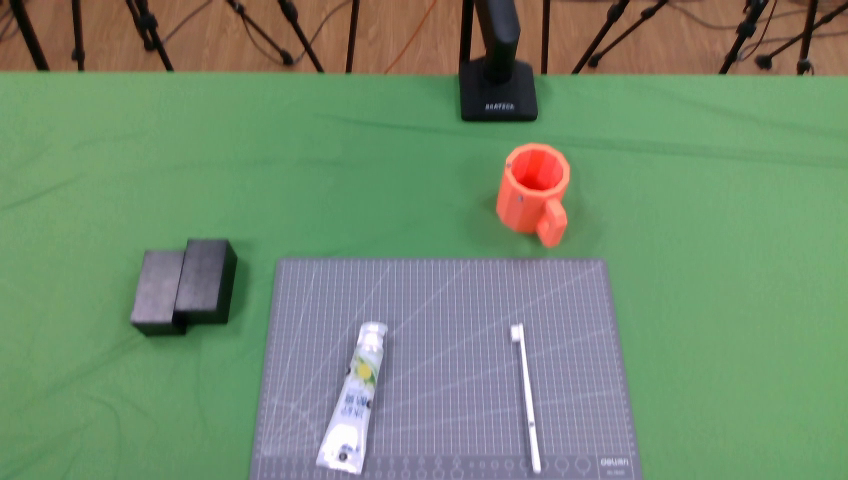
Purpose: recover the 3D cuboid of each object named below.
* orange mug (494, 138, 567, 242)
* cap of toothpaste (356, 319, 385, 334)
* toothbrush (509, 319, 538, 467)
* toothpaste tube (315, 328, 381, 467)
[{"bbox_3d":[0.151,-0.063,0.825,0.083,0.101,0.125,-19,60,-11],"label":"orange mug"},{"bbox_3d":[-0.067,0.109,0.758,0.037,0.037,0.011,1,60,-1],"label":"cap of toothpaste"},{"bbox_3d":[0.122,0.182,0.739,0.016,0.014,0.180,-4,62,0],"label":"toothbrush"},{"bbox_3d":[-0.084,0.182,0.726,0.055,0.035,0.164,8,66,10],"label":"toothpaste tube"}]
